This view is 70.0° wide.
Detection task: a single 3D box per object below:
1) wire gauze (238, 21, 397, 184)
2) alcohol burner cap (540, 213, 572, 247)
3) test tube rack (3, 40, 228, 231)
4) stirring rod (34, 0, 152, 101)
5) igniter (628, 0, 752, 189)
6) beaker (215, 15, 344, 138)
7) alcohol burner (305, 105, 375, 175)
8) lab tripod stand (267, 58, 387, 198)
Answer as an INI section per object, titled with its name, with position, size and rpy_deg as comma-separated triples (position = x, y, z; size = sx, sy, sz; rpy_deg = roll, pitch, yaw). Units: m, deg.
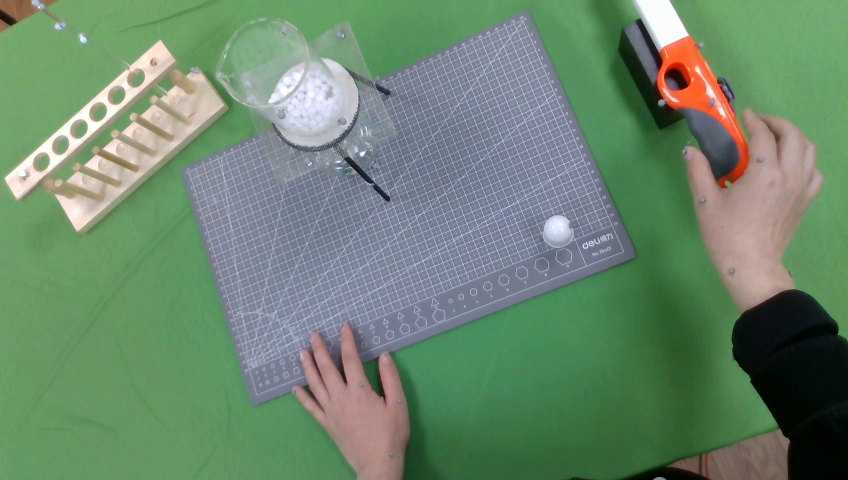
[wire gauze]
position = -0.104, -0.128, 0.569
size = 0.125, 0.011, 0.121
rpy_deg = -22, 82, 6
[alcohol burner cap]
position = 0.135, -0.012, 0.619
size = 0.034, 0.048, 0.033
rpy_deg = -2, 81, 11
[test tube rack]
position = -0.360, -0.117, 0.716
size = 0.242, 0.085, 0.066
rpy_deg = -39, 77, 4
[stirring rod]
position = -0.342, -0.194, 0.642
size = 0.006, 0.177, 0.014
rpy_deg = -37, 71, -1
[igniter]
position = 0.240, -0.177, 0.580
size = 0.057, 0.025, 0.275
rpy_deg = -23, 76, 11
[beaker]
position = -0.119, -0.133, 0.523
size = 0.084, 0.101, 0.073
rpy_deg = -9, 81, 11
[alcohol burner]
position = -0.094, -0.111, 0.642
size = 0.078, 0.119, 0.077
rpy_deg = -2, 81, 10
[lab tripod stand]
position = -0.090, -0.118, 0.632
size = 0.148, 0.132, 0.148
rpy_deg = -1, 83, 10
